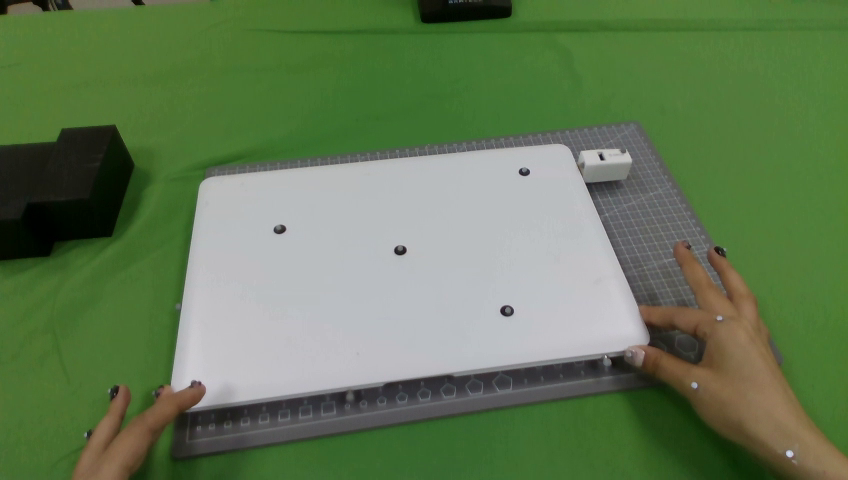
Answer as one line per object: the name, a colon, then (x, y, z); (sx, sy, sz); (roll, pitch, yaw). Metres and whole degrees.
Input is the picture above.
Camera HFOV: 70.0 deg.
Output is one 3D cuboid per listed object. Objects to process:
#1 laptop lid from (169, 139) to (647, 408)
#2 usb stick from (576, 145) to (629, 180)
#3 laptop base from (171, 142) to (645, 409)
laptop lid: (-0.020, 0.009, 0.506); (0.357, 0.013, 0.239); (-5, 51, -3)
usb stick: (0.161, -0.073, 0.574); (0.059, 0.027, 0.021); (-6, 51, -2)
laptop base: (-0.020, 0.015, 0.516); (0.355, 0.023, 0.233); (-6, 53, -5)
